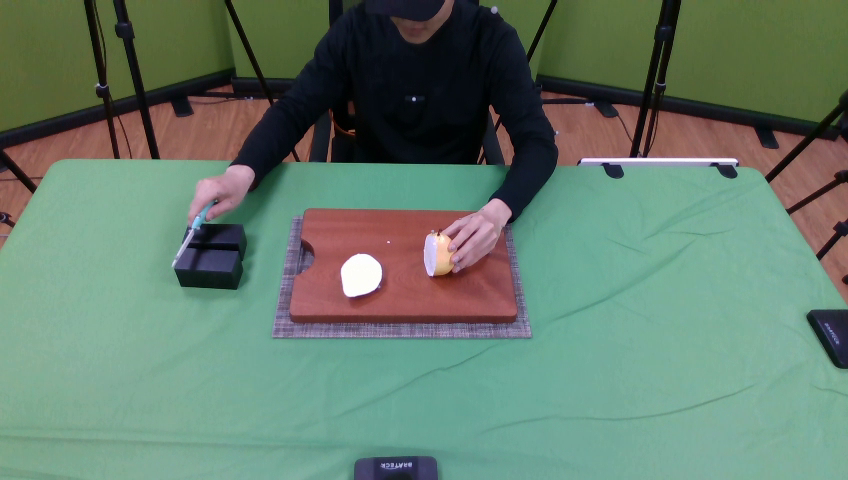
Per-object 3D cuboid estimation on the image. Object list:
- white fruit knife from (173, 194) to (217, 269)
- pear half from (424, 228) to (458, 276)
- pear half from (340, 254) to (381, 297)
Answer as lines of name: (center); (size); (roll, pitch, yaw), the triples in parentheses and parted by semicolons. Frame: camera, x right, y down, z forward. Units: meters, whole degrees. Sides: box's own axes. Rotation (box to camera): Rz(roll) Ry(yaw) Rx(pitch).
white fruit knife: (-0.411, -0.019, 1.090); (0.016, 0.027, 0.206); (15, 41, -8)
pear half: (0.035, 0.014, 1.083); (0.056, 0.110, 0.076); (-12, 55, -16)
pear half: (-0.116, 0.068, 1.074); (0.070, 0.031, 0.088); (31, 64, 5)
